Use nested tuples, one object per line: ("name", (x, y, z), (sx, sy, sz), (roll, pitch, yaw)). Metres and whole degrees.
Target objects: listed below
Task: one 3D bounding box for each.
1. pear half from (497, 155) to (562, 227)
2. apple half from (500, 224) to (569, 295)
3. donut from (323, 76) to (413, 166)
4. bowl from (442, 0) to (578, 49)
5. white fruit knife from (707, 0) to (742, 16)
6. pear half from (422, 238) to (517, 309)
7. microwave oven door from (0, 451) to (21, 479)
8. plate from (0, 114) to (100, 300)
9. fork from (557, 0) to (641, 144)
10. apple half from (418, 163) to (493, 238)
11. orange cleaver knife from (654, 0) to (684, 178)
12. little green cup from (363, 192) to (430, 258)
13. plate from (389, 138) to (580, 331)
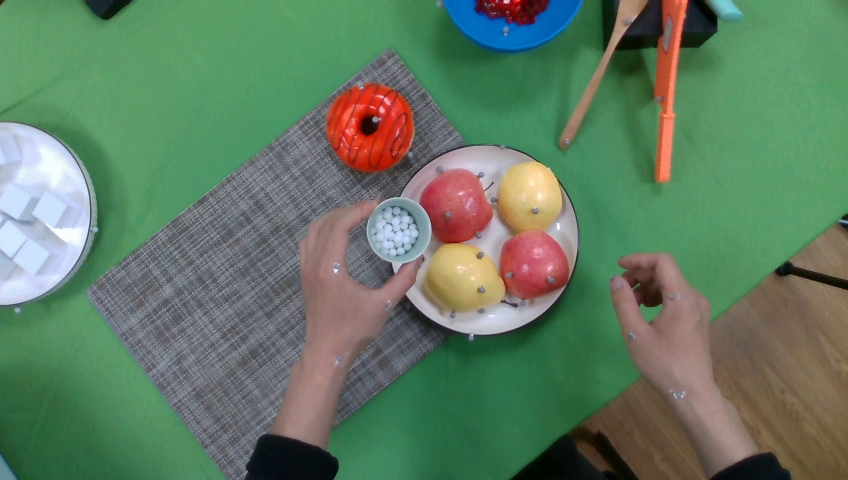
("pear half", (0.110, -0.045, 0.650), (0.070, 0.031, 0.088), (-3, 104, 26))
("apple half", (0.111, 0.023, 0.645), (0.081, 0.033, 0.081), (5, 104, 23))
("donut", (-0.062, -0.130, 0.667), (0.099, 0.048, 0.099), (0, 92, 5))
("bowl", (0.089, -0.271, 0.648), (0.151, 0.077, 0.151), (0, 91, 2))
("white fruit knife", (0.254, -0.311, 0.623), (0.027, 0.016, 0.207), (-35, 86, -27))
("pear half", (0.055, 0.043, 0.652), (0.110, 0.056, 0.076), (25, 96, -2))
("microwave oven door", (-0.421, 0.357, 0.569), (0.039, 0.244, 0.355), (-36, 88, 1))
("plate", (-0.467, -0.037, 0.691), (0.207, 0.039, 0.207), (0, 90, 2))
("fork", (0.189, -0.197, 0.639), (0.028, 0.018, 0.208), (20, 111, -5))
("apple half", (0.033, -0.042, 0.649), (0.074, 0.053, 0.081), (-21, 93, 3))
("orange cleaver knife", (0.253, -0.173, 0.639), (0.012, 0.076, 0.213), (-2, 115, 7))
("little green cup", (-0.028, -0.013, 0.569), (0.062, 0.038, 0.061), (1, 87, -15))
("plate", (0.064, -0.006, 0.665), (0.209, 0.038, 0.209), (0, 90, 2))
